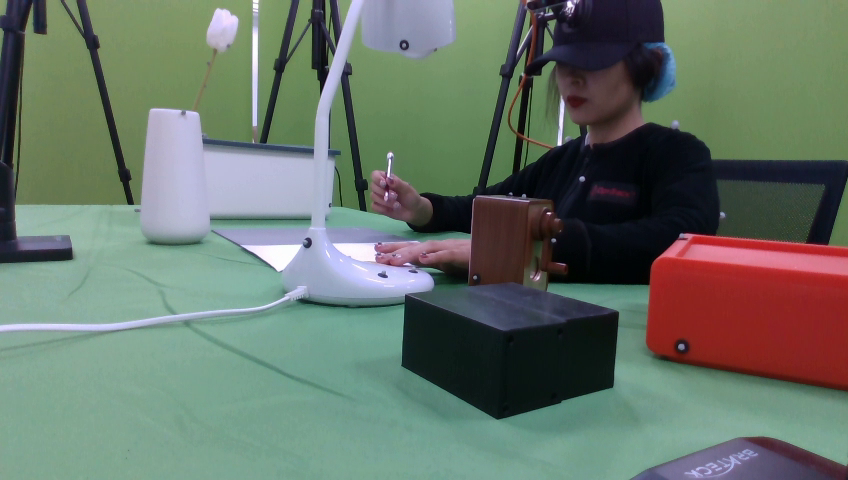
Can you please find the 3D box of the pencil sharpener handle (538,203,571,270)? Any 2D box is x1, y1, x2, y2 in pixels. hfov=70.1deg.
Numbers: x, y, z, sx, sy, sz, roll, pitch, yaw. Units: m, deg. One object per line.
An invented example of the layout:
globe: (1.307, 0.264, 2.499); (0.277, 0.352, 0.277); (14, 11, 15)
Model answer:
pencil sharpener handle: (0.137, -0.003, 0.619); (0.030, 0.067, 0.036); (8, 6, 38)

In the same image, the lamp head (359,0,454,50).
lamp head: (-0.024, -0.282, 0.674); (0.112, 0.123, 0.112); (-3, 38, 3)

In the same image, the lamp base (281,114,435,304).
lamp base: (-0.071, -0.034, 0.614); (0.160, 0.180, 0.180); (6, 10, 27)

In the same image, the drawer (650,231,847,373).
drawer: (0.303, 0.044, 0.499); (0.194, 0.073, 0.212); (7, 10, 27)

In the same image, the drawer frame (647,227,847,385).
drawer frame: (0.303, 0.043, 0.495); (0.201, 0.082, 0.214); (6, 9, 26)

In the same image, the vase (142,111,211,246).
vase: (-0.378, -0.093, 0.920); (0.098, 0.200, 0.098); (2, 9, 0)

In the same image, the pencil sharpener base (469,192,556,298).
pencil sharpener base: (0.097, 0.003, 0.652); (0.076, 0.107, 0.061); (8, 9, 38)

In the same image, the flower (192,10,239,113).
flower: (-0.354, -0.174, 0.915); (0.038, 0.361, 0.044); (18, -3, 12)

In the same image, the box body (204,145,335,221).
box body: (-0.411, -0.135, 1.386); (0.366, 0.160, 0.253); (-2, 9, -29)

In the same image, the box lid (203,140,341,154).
box lid: (-0.396, -0.212, 1.373); (0.373, 0.015, 0.262); (-1, 9, -29)

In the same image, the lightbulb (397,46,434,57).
lightbulb: (-0.017, -0.264, 0.692); (0.059, 0.108, 0.059); (-9, 28, 5)

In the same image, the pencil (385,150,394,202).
pencil: (-0.063, -0.117, 1.086); (0.012, 0.012, 0.193); (2, 34, -2)
